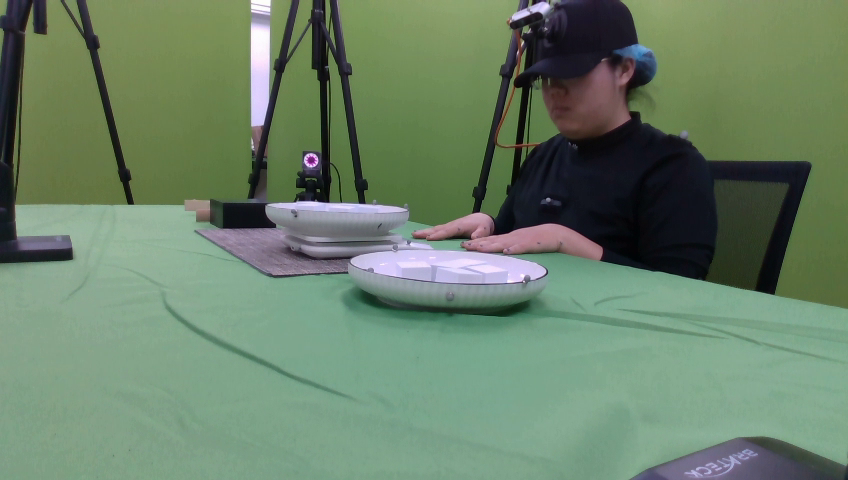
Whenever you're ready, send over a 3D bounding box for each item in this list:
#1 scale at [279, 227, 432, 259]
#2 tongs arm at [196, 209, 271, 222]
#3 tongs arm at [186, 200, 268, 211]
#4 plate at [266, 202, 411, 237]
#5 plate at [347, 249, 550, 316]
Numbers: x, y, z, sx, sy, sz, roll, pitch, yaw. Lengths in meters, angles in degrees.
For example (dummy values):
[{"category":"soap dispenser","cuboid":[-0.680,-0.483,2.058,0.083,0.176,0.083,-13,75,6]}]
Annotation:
[{"category":"scale","cuboid":[-0.100,0.001,0.899,0.202,0.031,0.148,-1,9,-31]},{"category":"tongs arm","cuboid":[-0.304,-0.057,1.331,0.390,0.028,0.028,-3,7,-38]},{"category":"tongs arm","cuboid":[-0.343,-0.072,1.399,0.387,0.026,0.050,0,9,-25]},{"category":"plate","cuboid":[-0.123,-0.030,0.879,0.208,0.039,0.207,2,6,0]},{"category":"plate","cuboid":[0.025,0.042,0.627,0.209,0.038,0.209,2,7,0]}]
